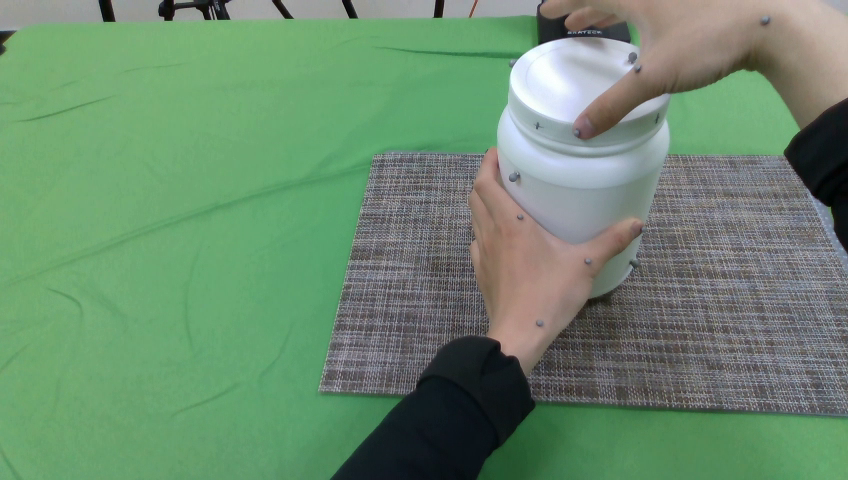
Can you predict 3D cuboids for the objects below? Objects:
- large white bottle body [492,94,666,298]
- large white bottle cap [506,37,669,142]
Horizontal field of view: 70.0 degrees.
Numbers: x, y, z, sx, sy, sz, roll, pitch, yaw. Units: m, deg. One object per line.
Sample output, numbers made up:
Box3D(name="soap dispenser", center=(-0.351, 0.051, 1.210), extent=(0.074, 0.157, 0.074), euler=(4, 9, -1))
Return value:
Box3D(name="large white bottle body", center=(0.123, -0.055, 0.503), extent=(0.130, 0.186, 0.129), euler=(-2, 48, 3))
Box3D(name="large white bottle cap", center=(0.116, -0.112, 0.439), extent=(0.115, 0.018, 0.113), euler=(-2, 47, 3))
